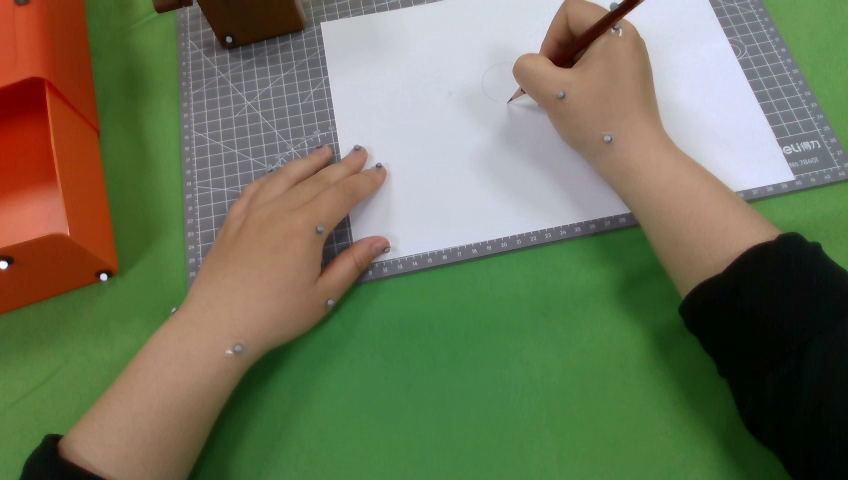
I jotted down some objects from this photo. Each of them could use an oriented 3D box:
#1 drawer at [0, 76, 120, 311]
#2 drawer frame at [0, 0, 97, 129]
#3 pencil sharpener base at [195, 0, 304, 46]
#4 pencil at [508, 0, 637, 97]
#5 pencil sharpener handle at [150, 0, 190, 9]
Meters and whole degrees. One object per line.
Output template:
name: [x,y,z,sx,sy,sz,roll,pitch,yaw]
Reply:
drawer: [-0.327,-0.047,0.406,0.194,0.074,0.210,-20,67,-4]
drawer frame: [-0.366,-0.149,0.449,0.202,0.083,0.211,-19,67,-3]
pencil sharpener base: [-0.140,-0.203,0.439,0.077,0.108,0.061,-17,67,-2]
pencil: [0.106,-0.131,0.357,0.012,0.194,0.012,9,70,-27]
pencil sharpener handle: [-0.190,-0.192,0.425,0.030,0.068,0.035,-17,64,-2]
